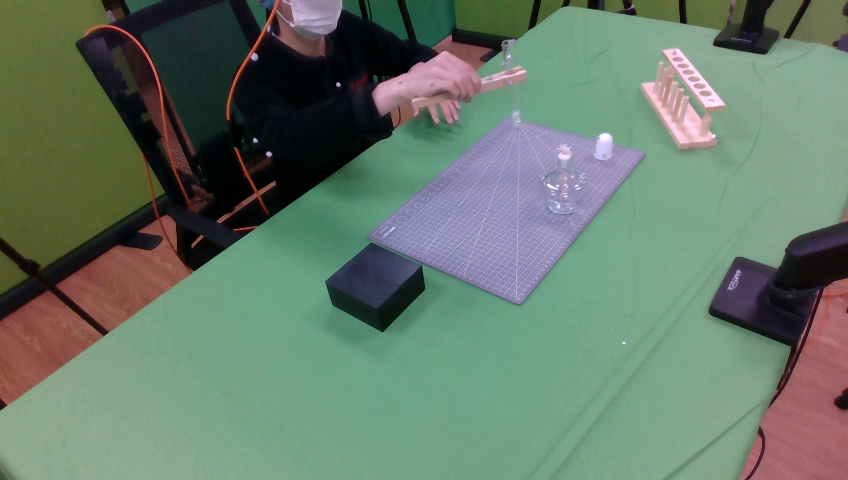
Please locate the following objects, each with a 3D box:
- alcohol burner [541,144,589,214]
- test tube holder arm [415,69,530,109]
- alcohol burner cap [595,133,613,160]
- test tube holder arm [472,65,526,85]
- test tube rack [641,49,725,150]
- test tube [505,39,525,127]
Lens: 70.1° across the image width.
[{"bbox_3d":[0.229,-0.102,0.983,0.078,0.119,0.077,-6,41,5],"label":"alcohol burner"},{"bbox_3d":[0.073,-0.226,0.905,0.179,0.015,0.013,-17,41,-6],"label":"test tube holder arm"},{"bbox_3d":[0.330,-0.172,1.104,0.034,0.048,0.033,-5,40,5],"label":"alcohol burner cap"},{"bbox_3d":[0.113,-0.244,0.916,0.088,0.015,0.010,-22,42,-11],"label":"test tube holder arm"},{"bbox_3d":[0.495,-0.279,1.175,0.067,0.085,0.241,-5,41,3],"label":"test tube rack"},{"bbox_3d":[0.141,-0.236,0.929,0.017,0.151,0.017,-9,44,9],"label":"test tube"}]
